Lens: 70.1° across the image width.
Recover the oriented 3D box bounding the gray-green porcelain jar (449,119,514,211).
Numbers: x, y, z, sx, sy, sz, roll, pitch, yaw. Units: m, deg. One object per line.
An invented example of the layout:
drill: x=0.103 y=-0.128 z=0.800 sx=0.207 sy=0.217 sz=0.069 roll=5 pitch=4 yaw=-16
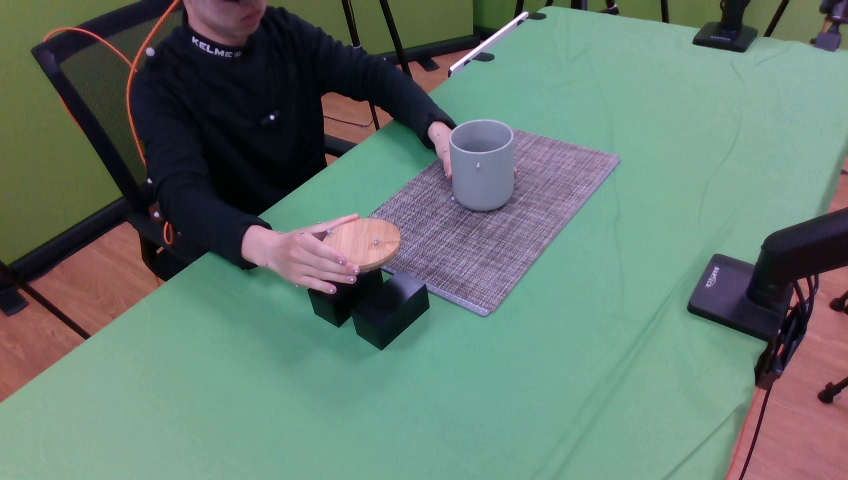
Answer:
gray-green porcelain jar: x=0.098 y=-0.120 z=1.008 sx=0.106 sy=0.127 sz=0.105 roll=-4 pitch=41 yaw=4

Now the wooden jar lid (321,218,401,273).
wooden jar lid: x=-0.085 y=0.009 z=0.823 sx=0.108 sy=0.021 sz=0.108 roll=-4 pitch=36 yaw=4
